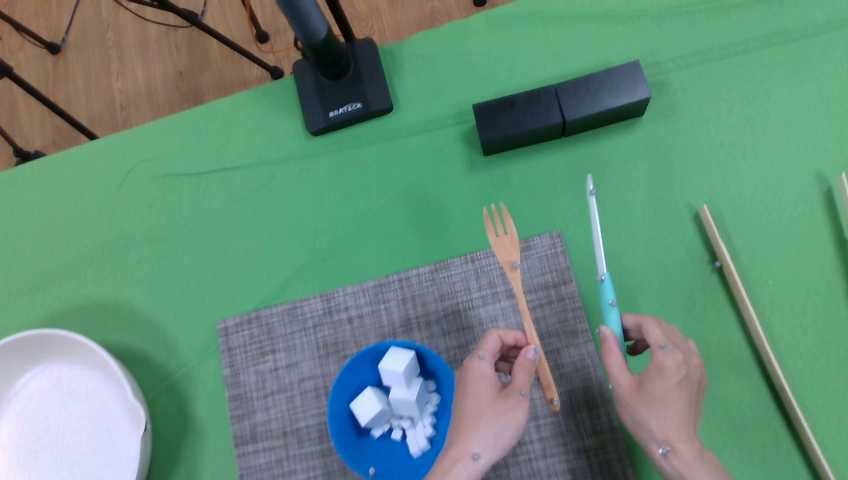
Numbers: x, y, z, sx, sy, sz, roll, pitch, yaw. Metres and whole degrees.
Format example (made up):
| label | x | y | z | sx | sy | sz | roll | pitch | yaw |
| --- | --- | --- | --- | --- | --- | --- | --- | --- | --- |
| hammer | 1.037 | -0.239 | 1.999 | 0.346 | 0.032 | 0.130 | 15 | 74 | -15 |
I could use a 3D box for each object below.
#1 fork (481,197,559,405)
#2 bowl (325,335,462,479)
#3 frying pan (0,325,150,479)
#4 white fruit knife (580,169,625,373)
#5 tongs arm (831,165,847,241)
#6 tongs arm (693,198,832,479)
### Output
| label | x | y | z | sx | sy | sz | roll | pitch | yaw |
| --- | --- | --- | --- | --- | --- | --- | --- | --- | --- |
| fork | 0.094 | 0.059 | 0.580 | 0.028 | 0.019 | 0.207 | -17 | 88 | 21 |
| bowl | -0.027 | 0.184 | 0.678 | 0.151 | 0.077 | 0.150 | -2 | 77 | 9 |
| frying pan | -0.442 | 0.344 | 0.704 | 0.307 | 0.103 | 0.483 | -17 | 67 | 6 |
| white fruit knife | 0.170 | 0.034 | 0.584 | 0.016 | 0.027 | 0.208 | -13 | 99 | -5 |
| tongs arm | 0.457 | 0.109 | 0.637 | 0.050 | 0.027 | 0.383 | -8 | 77 | 10 |
| tongs arm | 0.379 | 0.128 | 0.652 | 0.028 | 0.028 | 0.385 | -20 | 75 | 3 |
